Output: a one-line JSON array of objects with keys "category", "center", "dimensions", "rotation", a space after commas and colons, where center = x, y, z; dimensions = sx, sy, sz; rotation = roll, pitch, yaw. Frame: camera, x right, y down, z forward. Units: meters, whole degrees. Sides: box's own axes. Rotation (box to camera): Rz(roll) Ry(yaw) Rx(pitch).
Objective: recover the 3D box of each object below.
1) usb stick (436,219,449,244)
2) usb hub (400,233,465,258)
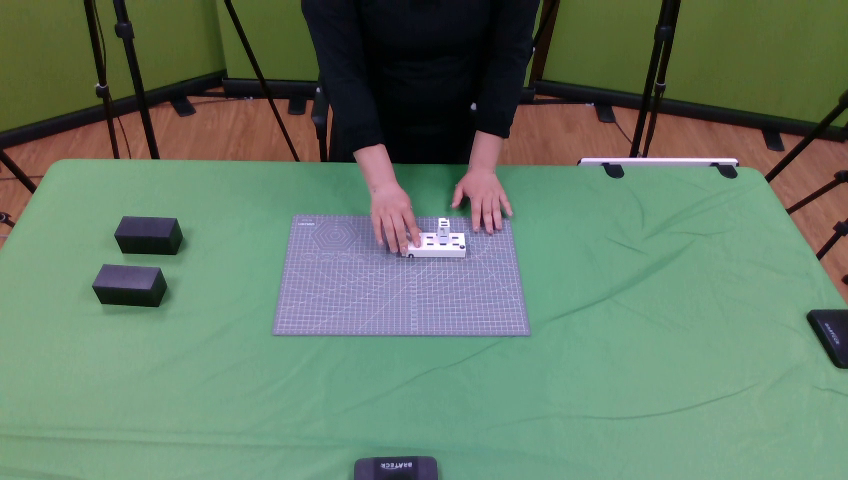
[{"category": "usb stick", "center": [0.036, -0.012, 1.166], "dimensions": [0.021, 0.059, 0.027], "rotation": [-3, 49, -5]}, {"category": "usb hub", "center": [0.017, 0.011, 1.182], "dimensions": [0.125, 0.025, 0.049], "rotation": [0, 46, -3]}]
